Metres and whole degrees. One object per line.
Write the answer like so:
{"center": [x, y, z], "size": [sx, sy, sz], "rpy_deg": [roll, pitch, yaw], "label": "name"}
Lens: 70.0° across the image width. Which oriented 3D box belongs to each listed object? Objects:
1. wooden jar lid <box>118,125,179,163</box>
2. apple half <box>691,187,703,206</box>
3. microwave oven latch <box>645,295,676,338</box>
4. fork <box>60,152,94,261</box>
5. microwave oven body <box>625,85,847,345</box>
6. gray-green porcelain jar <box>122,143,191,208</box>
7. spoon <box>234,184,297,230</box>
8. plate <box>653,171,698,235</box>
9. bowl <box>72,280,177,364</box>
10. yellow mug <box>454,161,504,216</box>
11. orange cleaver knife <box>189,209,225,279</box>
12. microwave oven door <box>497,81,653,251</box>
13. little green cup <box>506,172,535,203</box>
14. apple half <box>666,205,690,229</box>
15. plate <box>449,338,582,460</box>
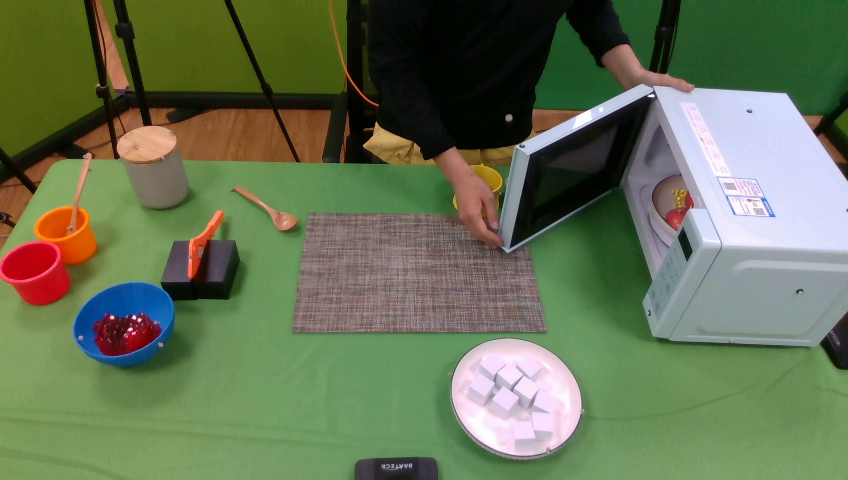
{"center": [-0.528, -0.181, 1.167], "size": [0.108, 0.021, 0.107], "rpy_deg": [4, 48, -4], "label": "wooden jar lid"}
{"center": [0.571, -0.089, 1.194], "size": [0.081, 0.053, 0.074], "rpy_deg": [-1, 34, 15], "label": "apple half"}
{"center": [0.412, 0.133, 1.061], "size": [0.030, 0.029, 0.078], "rpy_deg": [3, 46, 0], "label": "microwave oven latch"}
{"center": [-0.638, -0.063, 1.120], "size": [0.028, 0.018, 0.207], "rpy_deg": [12, 90, 5], "label": "fork"}
{"center": [0.568, -0.054, 1.116], "size": [0.326, 0.261, 0.439], "rpy_deg": [2, 46, -1], "label": "microwave oven body"}
{"center": [-0.531, -0.137, 1.213], "size": [0.106, 0.127, 0.105], "rpy_deg": [2, 47, -2], "label": "gray-green porcelain jar"}
{"center": [-0.327, -0.073, 1.239], "size": [0.193, 0.022, 0.041], "rpy_deg": [34, 71, 25], "label": "spoon"}
{"center": [0.551, -0.054, 1.188], "size": [0.209, 0.038, 0.208], "rpy_deg": [2, 47, -2], "label": "plate"}
{"center": [-0.473, 0.147, 0.982], "size": [0.151, 0.077, 0.150], "rpy_deg": [2, 46, -2], "label": "bowl"}
{"center": [0.117, -0.119, 1.284], "size": [0.100, 0.064, 0.130], "rpy_deg": [9, 44, 4], "label": "yellow mug"}
{"center": [-0.400, 0.002, 1.122], "size": [0.012, 0.077, 0.210], "rpy_deg": [4, 23, -4], "label": "orange cleaver knife"}
{"center": [0.296, -0.146, 1.177], "size": [0.356, 0.245, 0.039], "rpy_deg": [-29, 54, -27], "label": "microwave oven door"}
{"center": [0.205, -0.111, 1.302], "size": [0.061, 0.039, 0.061], "rpy_deg": [3, 47, -3], "label": "little green cup"}
{"center": [0.507, -0.046, 1.168], "size": [0.081, 0.033, 0.081], "rpy_deg": [5, 46, -5], "label": "apple half"}
{"center": [0.141, 0.251, 0.956], "size": [0.208, 0.039, 0.206], "rpy_deg": [2, 46, -2], "label": "plate"}
